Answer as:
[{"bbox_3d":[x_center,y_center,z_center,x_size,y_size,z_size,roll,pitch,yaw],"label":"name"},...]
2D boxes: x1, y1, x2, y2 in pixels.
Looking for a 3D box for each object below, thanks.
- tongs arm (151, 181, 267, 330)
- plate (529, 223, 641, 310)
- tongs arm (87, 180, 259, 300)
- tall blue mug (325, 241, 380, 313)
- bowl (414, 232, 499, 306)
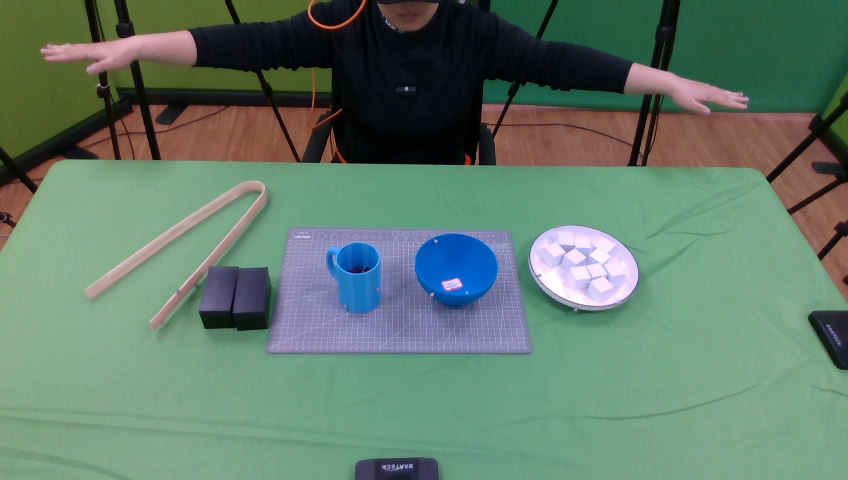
[{"bbox_3d":[-0.400,0.014,1.145,0.050,0.027,0.383,14,46,18],"label":"tongs arm"},{"bbox_3d":[0.303,0.053,1.156,0.209,0.038,0.208,2,46,-1],"label":"plate"},{"bbox_3d":[-0.473,-0.011,1.172,0.028,0.028,0.387,22,49,30],"label":"tongs arm"},{"bbox_3d":[-0.130,0.063,1.062,0.107,0.108,0.077,9,47,5],"label":"tall blue mug"},{"bbox_3d":[0.056,0.065,1.095,0.151,0.077,0.150,2,46,-2],"label":"bowl"}]
